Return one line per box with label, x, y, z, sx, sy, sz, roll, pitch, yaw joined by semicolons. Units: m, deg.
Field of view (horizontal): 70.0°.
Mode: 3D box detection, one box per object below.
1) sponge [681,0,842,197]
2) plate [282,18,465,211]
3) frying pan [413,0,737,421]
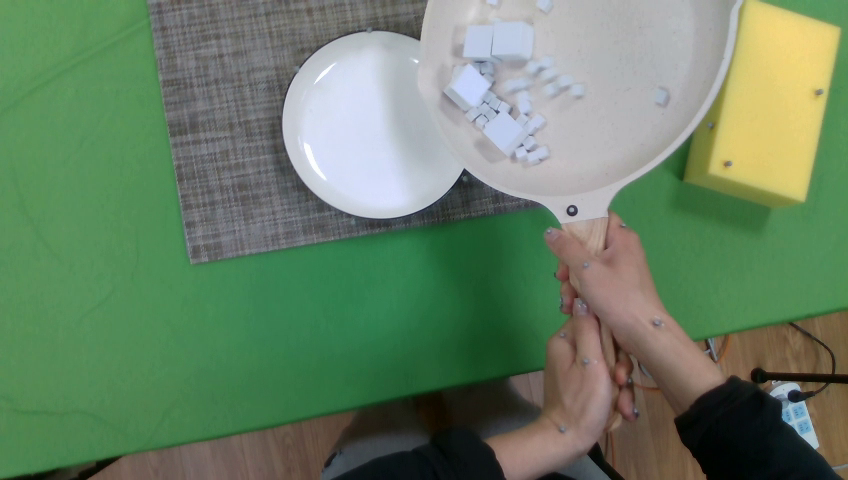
sponge;0.386;-0.166;0.697;0.118;0.061;0.206;14;87;-4
plate;-0.047;-0.134;0.663;0.208;0.039;0.207;0;88;-5
frying pan;0.137;-0.086;0.548;0.305;0.103;0.486;-8;82;34
